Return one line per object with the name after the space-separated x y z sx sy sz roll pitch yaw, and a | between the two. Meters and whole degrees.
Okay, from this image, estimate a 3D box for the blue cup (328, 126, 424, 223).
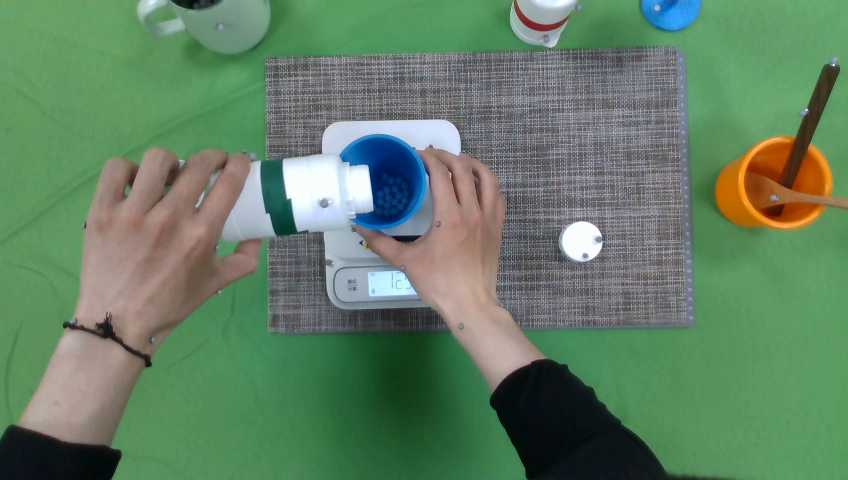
-0.042 -0.057 0.578 0.092 0.100 0.092 0 90 0 | blue cup

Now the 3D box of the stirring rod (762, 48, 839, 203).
0.359 -0.102 0.583 0.014 0.178 0.006 8 48 15 | stirring rod

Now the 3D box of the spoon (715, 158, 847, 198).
0.380 -0.050 0.582 0.022 0.192 0.041 7 97 -42 | spoon

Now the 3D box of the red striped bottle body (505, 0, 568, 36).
0.118 -0.256 0.606 0.063 0.120 0.063 0 88 1 | red striped bottle body

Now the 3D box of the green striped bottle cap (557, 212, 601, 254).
0.165 -0.008 0.647 0.044 0.020 0.044 0 86 2 | green striped bottle cap

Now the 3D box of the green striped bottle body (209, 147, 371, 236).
-0.103 -0.040 0.484 0.119 0.063 0.063 -7 88 -4 | green striped bottle body

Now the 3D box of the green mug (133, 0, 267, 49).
-0.232 -0.247 0.619 0.125 0.105 0.092 -24 88 1 | green mug

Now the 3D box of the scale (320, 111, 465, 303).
-0.034 -0.035 0.642 0.149 0.031 0.200 -3 89 1 | scale

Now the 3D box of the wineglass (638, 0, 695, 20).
0.262 -0.276 0.577 0.074 0.172 0.073 0 88 2 | wineglass

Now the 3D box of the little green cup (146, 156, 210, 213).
-0.258 -0.057 0.646 0.061 0.038 0.061 0 88 0 | little green cup
